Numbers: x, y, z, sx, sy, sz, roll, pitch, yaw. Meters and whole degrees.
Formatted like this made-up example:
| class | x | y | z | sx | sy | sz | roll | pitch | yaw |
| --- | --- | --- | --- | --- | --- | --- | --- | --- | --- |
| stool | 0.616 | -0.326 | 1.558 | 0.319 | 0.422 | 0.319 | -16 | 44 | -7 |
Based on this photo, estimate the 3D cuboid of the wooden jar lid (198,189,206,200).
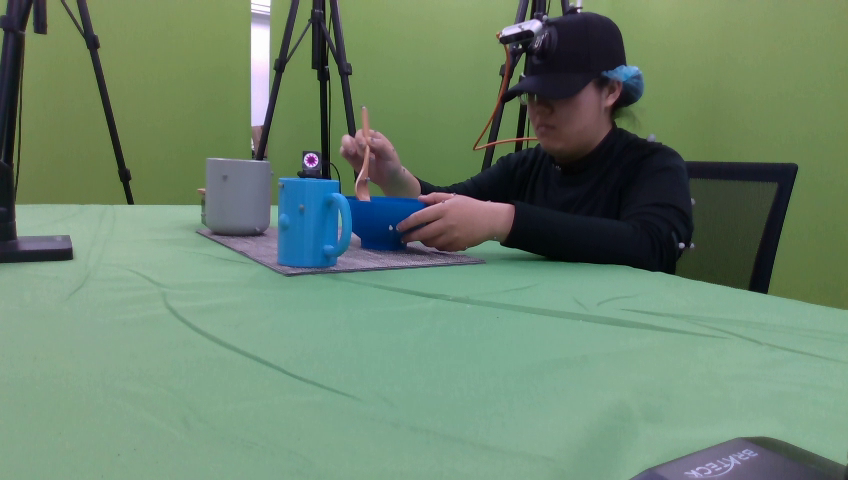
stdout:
| class | x | y | z | sx | sy | sz | roll | pitch | yaw |
| --- | --- | --- | --- | --- | --- | --- | --- | --- | --- |
| wooden jar lid | -0.382 | -0.088 | 1.175 | 0.108 | 0.020 | 0.108 | 3 | 8 | 0 |

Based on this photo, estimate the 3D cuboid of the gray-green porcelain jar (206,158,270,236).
| class | x | y | z | sx | sy | sz | roll | pitch | yaw |
| --- | --- | --- | --- | --- | --- | --- | --- | --- | --- |
| gray-green porcelain jar | -0.316 | -0.074 | 1.031 | 0.106 | 0.126 | 0.106 | 3 | 7 | 0 |

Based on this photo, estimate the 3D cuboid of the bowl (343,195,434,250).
| class | x | y | z | sx | sy | sz | roll | pitch | yaw |
| --- | --- | --- | --- | --- | --- | --- | --- | --- | --- |
| bowl | -0.062 | -0.027 | 0.955 | 0.151 | 0.077 | 0.151 | 3 | 7 | 0 |

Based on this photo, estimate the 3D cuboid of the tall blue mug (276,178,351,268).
| class | x | y | z | sx | sy | sz | roll | pitch | yaw |
| --- | --- | --- | --- | --- | --- | --- | --- | --- | --- |
| tall blue mug | -0.133 | -0.022 | 0.766 | 0.107 | 0.108 | 0.078 | 4 | 6 | 12 |

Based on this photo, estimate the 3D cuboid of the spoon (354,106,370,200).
| class | x | y | z | sx | sy | sz | roll | pitch | yaw |
| --- | --- | --- | --- | --- | --- | --- | --- | --- | --- |
| spoon | -0.098 | -0.138 | 0.995 | 0.021 | 0.193 | 0.042 | -12 | -24 | 29 |
